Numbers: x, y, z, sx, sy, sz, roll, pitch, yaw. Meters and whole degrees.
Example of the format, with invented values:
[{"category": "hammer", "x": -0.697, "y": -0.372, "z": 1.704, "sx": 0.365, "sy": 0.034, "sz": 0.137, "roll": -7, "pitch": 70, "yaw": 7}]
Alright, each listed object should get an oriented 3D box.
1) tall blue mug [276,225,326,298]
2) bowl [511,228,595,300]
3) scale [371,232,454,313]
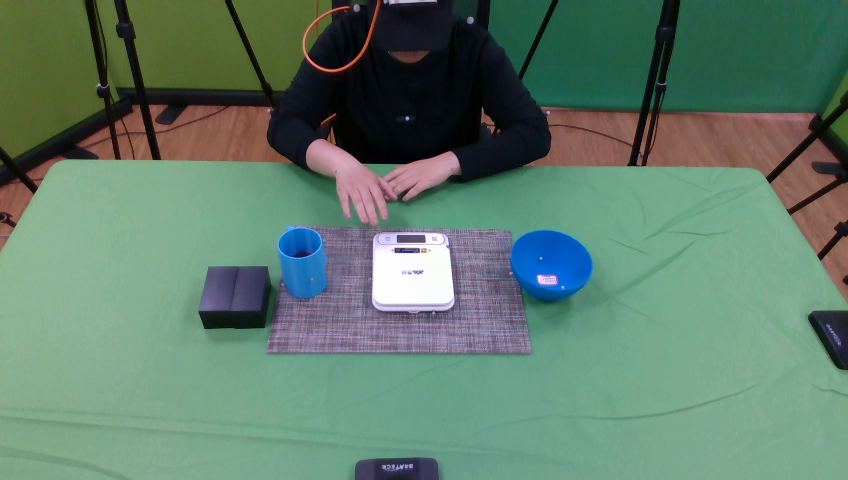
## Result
[{"category": "tall blue mug", "x": -0.228, "y": 0.033, "z": 1.083, "sx": 0.107, "sy": 0.108, "sz": 0.077, "roll": 30, "pitch": 52, "yaw": 23}, {"category": "bowl", "x": 0.230, "y": 0.058, "z": 1.118, "sx": 0.151, "sy": 0.077, "sz": 0.150, "roll": 2, "pitch": 46, "yaw": -2}, {"category": "scale", "x": -0.023, "y": 0.050, "z": 1.134, "sx": 0.149, "sy": 0.032, "sz": 0.199, "roll": 1, "pitch": 46, "yaw": -4}]
